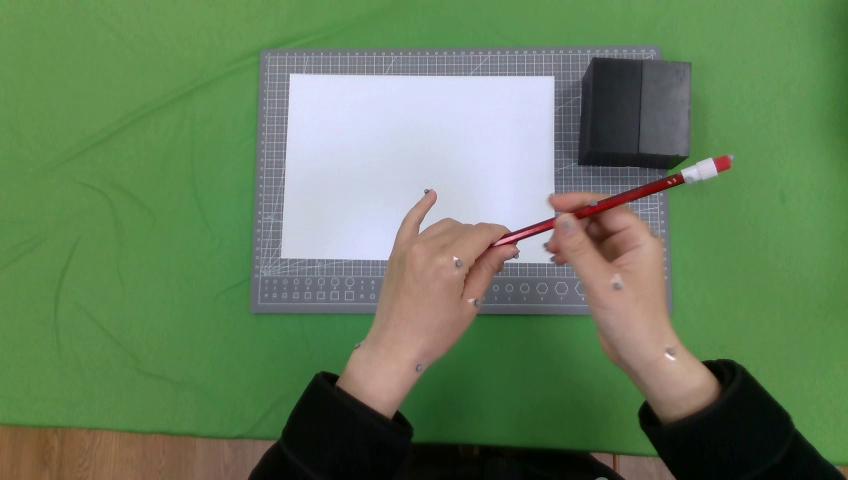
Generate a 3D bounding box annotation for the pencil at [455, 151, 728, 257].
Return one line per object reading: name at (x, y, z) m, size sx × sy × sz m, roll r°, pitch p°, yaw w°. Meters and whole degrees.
pencil at (0.107, -0.020, 0.415) m, size 0.194 × 0.012 × 0.012 m, roll -21°, pitch 81°, yaw 22°
